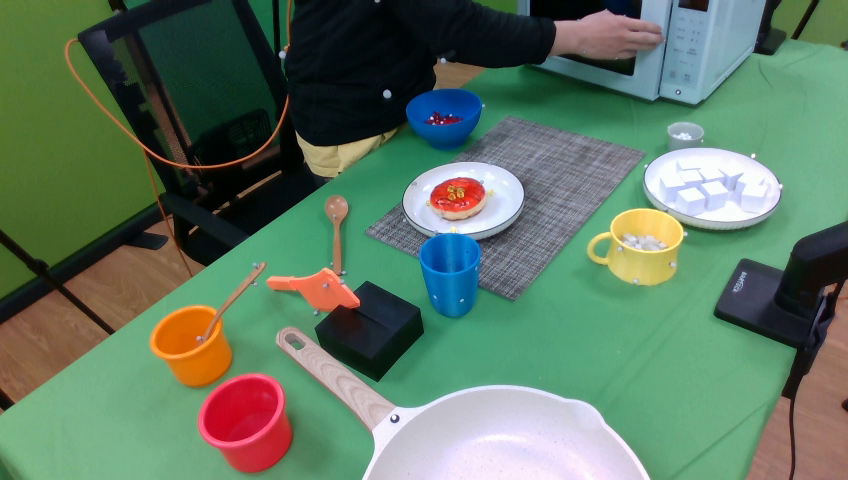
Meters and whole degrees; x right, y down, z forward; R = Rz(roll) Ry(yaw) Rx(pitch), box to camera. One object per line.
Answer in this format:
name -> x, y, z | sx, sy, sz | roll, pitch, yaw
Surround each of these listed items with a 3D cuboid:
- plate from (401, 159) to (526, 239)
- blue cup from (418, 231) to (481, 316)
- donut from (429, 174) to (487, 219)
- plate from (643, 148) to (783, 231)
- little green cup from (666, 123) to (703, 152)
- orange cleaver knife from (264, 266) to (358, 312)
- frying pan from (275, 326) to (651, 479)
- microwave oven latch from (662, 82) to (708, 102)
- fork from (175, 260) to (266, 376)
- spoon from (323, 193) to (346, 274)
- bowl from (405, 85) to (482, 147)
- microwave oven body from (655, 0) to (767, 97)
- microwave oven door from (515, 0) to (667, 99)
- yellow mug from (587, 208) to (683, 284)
plate -> 0.067, -0.065, 1.019 | 0.209, 0.038, 0.208 | -4, 40, 4
blue cup -> 0.040, 0.053, 0.843 | 0.092, 0.100, 0.092 | -4, 43, 4
donut -> 0.057, -0.075, 1.015 | 0.099, 0.048, 0.098 | -6, 38, 5
plate -> 0.464, -0.080, 0.986 | 0.207, 0.039, 0.206 | -4, 41, 4
little green cup -> 0.472, -0.183, 1.102 | 0.061, 0.039, 0.061 | -5, 39, 4
orange cleaver knife -> -0.165, 0.073, 0.864 | 0.210, 0.077, 0.012 | -6, 31, 50
frying pan -> 0.004, 0.229, 0.641 | 0.484, 0.103, 0.308 | 34, 54, 28
microwave oven latch -> 0.518, -0.298, 1.202 | 0.078, 0.029, 0.030 | 29, 53, 36
fork -> -0.268, 0.103, 0.792 | 0.207, 0.019, 0.028 | -51, 41, 16
spoon -> -0.149, -0.014, 1.008 | 0.042, 0.021, 0.192 | 6, 38, -14
bowl -> 0.041, -0.236, 1.196 | 0.151, 0.077, 0.150 | -4, 40, 4
microwave oven body -> 0.473, -0.516, 1.313 | 0.438, 0.261, 0.327 | 26, 51, 34
microwave oven door -> 0.336, -0.452, 1.251 | 0.353, 0.245, 0.039 | 30, 53, 35
yellow mug -> 0.305, 0.009, 0.884 | 0.131, 0.064, 0.099 | -4, 41, 5
